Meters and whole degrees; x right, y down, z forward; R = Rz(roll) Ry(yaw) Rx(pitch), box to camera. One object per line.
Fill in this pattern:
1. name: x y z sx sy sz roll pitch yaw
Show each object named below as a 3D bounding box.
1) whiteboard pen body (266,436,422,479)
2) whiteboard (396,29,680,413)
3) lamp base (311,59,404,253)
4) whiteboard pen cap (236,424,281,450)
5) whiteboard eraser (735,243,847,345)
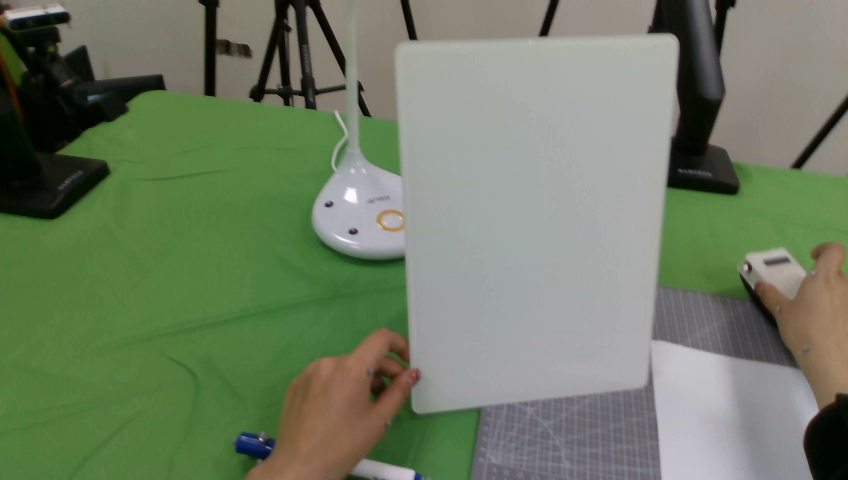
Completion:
1. whiteboard pen body: -0.071 0.168 0.469 0.140 0.017 0.017 9 38 5
2. whiteboard: 0.082 -0.026 0.549 0.217 0.307 0.143 -4 19 -8
3. lamp base: -0.061 -0.103 0.695 0.161 0.182 0.177 -23 42 -29
4. whiteboard pen cap: -0.129 0.156 0.477 0.033 0.018 0.018 9 38 5
5. whiteboard eraser: 0.374 0.055 0.621 0.056 0.042 0.111 -11 48 -9
